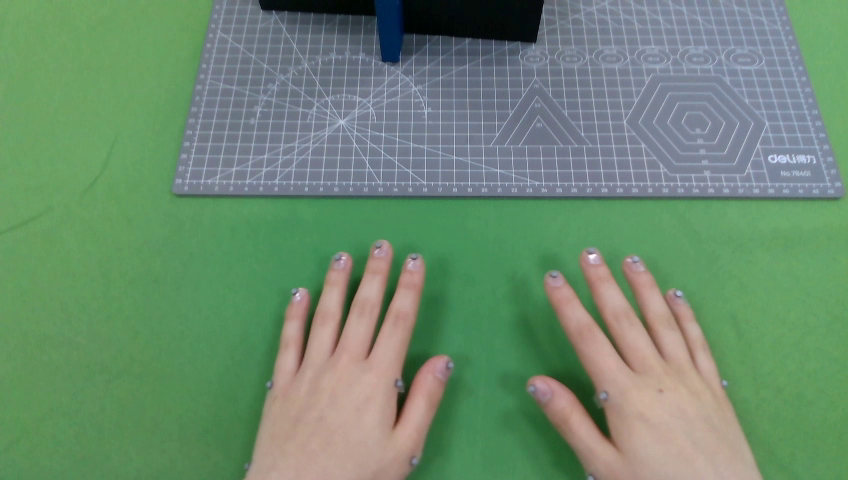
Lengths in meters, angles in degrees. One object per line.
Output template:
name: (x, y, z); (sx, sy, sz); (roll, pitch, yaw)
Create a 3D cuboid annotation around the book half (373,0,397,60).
book half: (-0.021, -0.243, 0.387); (0.016, 0.212, 0.147); (5, 65, 3)

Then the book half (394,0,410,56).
book half: (-0.013, -0.245, 0.388); (0.007, 0.211, 0.142); (6, 65, 4)
